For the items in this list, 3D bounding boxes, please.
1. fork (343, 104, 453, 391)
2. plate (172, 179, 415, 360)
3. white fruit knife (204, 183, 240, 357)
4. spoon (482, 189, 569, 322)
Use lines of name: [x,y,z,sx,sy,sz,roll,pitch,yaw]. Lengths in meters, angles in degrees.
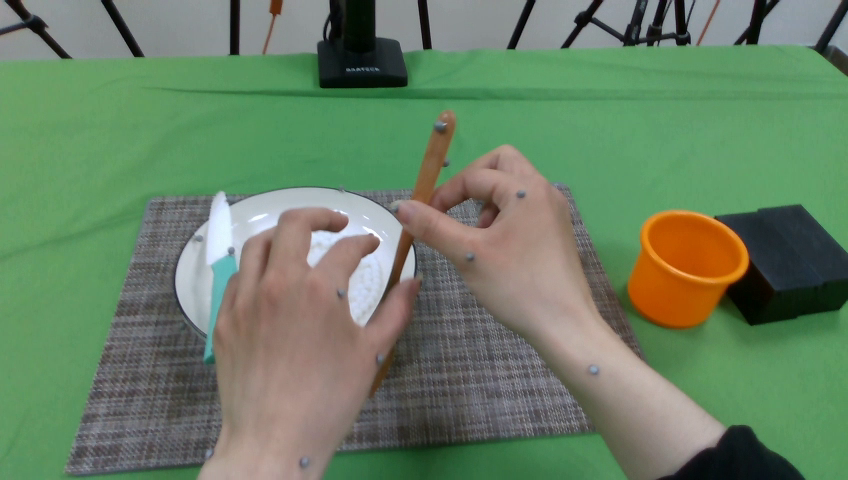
fork: [-0.018,0.012,0.395,0.028,0.208,0.018,24,24,13]
plate: [-0.112,0.024,0.544,0.209,0.038,0.207,2,45,-2]
white fruit knife: [-0.174,0.014,0.518,0.027,0.016,0.205,-11,46,-10]
spoon: [0.091,0.007,0.589,0.041,0.022,0.191,-20,48,1]
